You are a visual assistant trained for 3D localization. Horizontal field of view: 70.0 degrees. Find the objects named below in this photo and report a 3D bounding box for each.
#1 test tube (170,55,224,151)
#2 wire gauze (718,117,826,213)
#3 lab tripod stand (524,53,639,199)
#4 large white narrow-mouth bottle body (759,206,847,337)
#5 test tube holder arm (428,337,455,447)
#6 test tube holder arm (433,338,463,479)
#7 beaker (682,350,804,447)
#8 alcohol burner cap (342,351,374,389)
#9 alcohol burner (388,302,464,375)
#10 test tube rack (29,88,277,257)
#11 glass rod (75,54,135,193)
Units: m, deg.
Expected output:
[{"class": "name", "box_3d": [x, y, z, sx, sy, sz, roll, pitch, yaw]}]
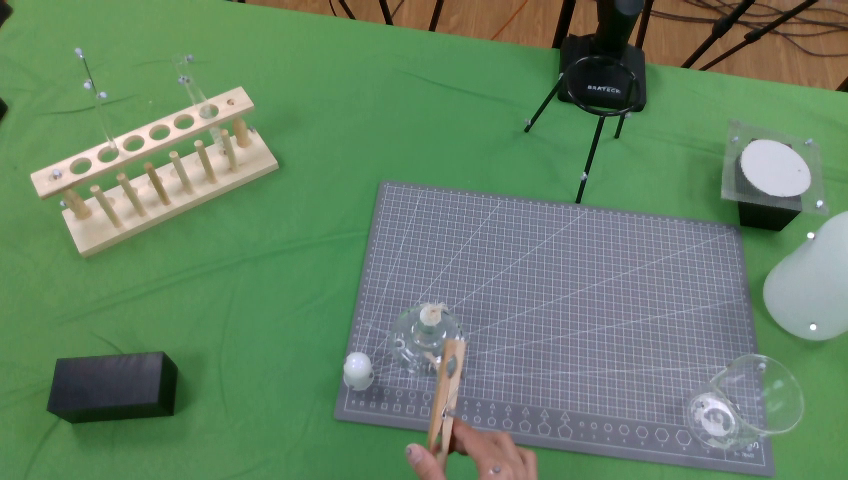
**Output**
[{"class": "test tube", "box_3d": [-0.252, -0.150, 0.686, 0.017, 0.151, 0.017, -1, 62, 1]}, {"class": "wire gauze", "box_3d": [0.422, -0.092, 0.738, 0.121, 0.011, 0.124, 14, 61, 5]}, {"class": "lab tripod stand", "box_3d": [0.198, -0.145, 0.739, 0.148, 0.132, 0.147, 2, 62, -4]}, {"class": "large white narrow-mouth bottle body", "box_3d": [0.441, 0.022, 0.625, 0.102, 0.196, 0.101, 1, 60, -2]}, {"class": "test tube holder arm", "box_3d": [0.014, 0.123, 0.491, 0.010, 0.015, 0.087, 8, 89, -3]}, {"class": "test tube holder arm", "box_3d": [0.014, 0.168, 0.490, 0.013, 0.015, 0.178, 7, 89, -3]}, {"class": "beaker", "box_3d": [0.302, 0.158, 0.592, 0.084, 0.101, 0.073, 12, 60, 5]}, {"class": "alcohol burner cap", "box_3d": [-0.069, 0.131, 0.619, 0.034, 0.048, 0.033, 1, 61, -2]}, {"class": "alcohol burner", "box_3d": [0.003, 0.091, 0.604, 0.078, 0.120, 0.077, 3, 60, -4]}, {"class": "test tube rack", "box_3d": [-0.301, -0.080, 0.700, 0.242, 0.086, 0.066, -29, 66, -18]}, {"class": "glass rod", "box_3d": [-0.333, -0.111, 0.640, 0.008, 0.201, 0.008, 4, 53, -5]}]
